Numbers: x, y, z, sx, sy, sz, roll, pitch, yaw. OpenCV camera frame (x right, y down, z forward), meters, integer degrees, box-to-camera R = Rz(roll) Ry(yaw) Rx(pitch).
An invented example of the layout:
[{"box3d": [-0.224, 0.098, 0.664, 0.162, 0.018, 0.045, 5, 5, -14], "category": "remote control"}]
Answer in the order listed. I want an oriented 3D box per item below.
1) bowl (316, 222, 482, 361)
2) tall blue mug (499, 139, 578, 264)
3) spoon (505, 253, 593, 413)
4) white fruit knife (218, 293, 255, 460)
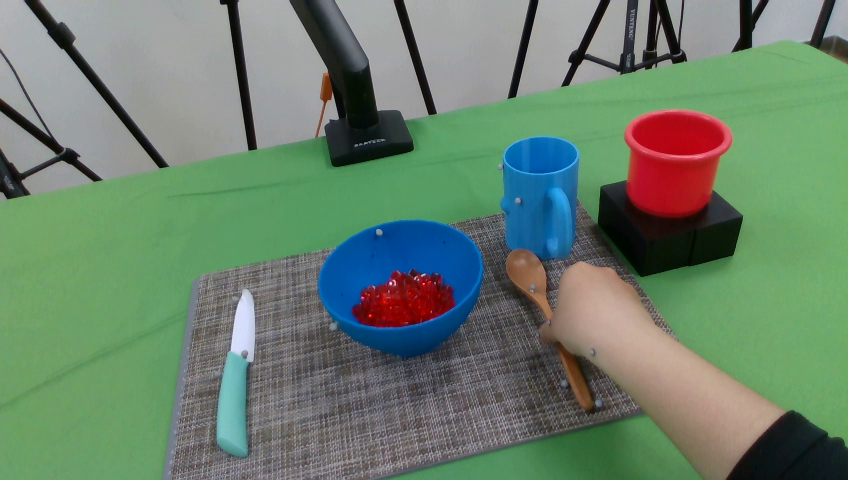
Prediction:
[{"box3d": [-0.019, 0.059, 0.566, 0.151, 0.077, 0.150, -5, 38, 4], "category": "bowl"}, {"box3d": [0.131, -0.034, 0.631, 0.078, 0.109, 0.106, -30, 43, -27], "category": "tall blue mug"}, {"box3d": [0.116, 0.078, 0.563, 0.042, 0.022, 0.191, 1, 36, -13], "category": "spoon"}, {"box3d": [-0.175, 0.117, 0.574, 0.027, 0.016, 0.205, 13, 31, -21], "category": "white fruit knife"}]
